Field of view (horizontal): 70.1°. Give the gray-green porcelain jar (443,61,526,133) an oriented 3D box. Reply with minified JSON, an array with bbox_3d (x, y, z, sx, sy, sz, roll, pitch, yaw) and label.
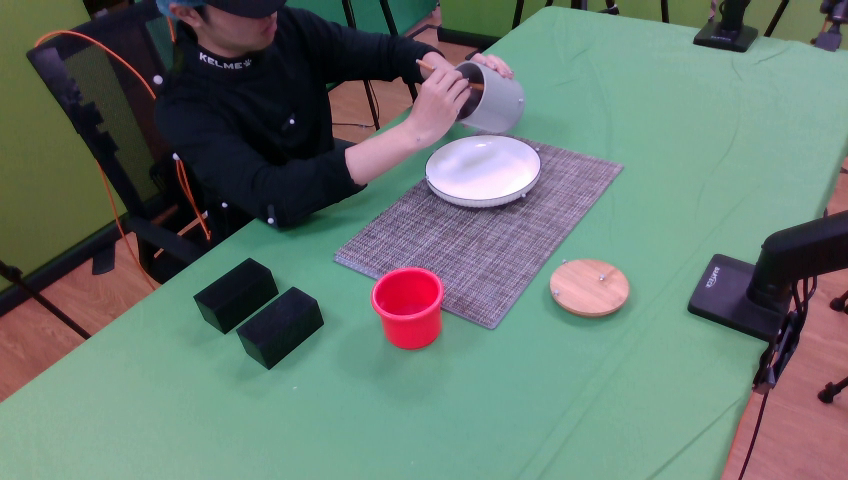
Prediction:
[{"bbox_3d":[0.113,-0.254,1.094,0.127,0.106,0.105,5,25,-44],"label":"gray-green porcelain jar"}]

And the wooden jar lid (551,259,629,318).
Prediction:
[{"bbox_3d":[0.234,0.070,0.857,0.108,0.021,0.108,-5,40,4],"label":"wooden jar lid"}]

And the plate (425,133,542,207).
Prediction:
[{"bbox_3d":[0.105,-0.122,1.079,0.207,0.039,0.206,-4,41,4],"label":"plate"}]

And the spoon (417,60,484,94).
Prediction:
[{"bbox_3d":[0.073,-0.271,1.058,0.195,0.021,0.041,15,28,-23],"label":"spoon"}]
